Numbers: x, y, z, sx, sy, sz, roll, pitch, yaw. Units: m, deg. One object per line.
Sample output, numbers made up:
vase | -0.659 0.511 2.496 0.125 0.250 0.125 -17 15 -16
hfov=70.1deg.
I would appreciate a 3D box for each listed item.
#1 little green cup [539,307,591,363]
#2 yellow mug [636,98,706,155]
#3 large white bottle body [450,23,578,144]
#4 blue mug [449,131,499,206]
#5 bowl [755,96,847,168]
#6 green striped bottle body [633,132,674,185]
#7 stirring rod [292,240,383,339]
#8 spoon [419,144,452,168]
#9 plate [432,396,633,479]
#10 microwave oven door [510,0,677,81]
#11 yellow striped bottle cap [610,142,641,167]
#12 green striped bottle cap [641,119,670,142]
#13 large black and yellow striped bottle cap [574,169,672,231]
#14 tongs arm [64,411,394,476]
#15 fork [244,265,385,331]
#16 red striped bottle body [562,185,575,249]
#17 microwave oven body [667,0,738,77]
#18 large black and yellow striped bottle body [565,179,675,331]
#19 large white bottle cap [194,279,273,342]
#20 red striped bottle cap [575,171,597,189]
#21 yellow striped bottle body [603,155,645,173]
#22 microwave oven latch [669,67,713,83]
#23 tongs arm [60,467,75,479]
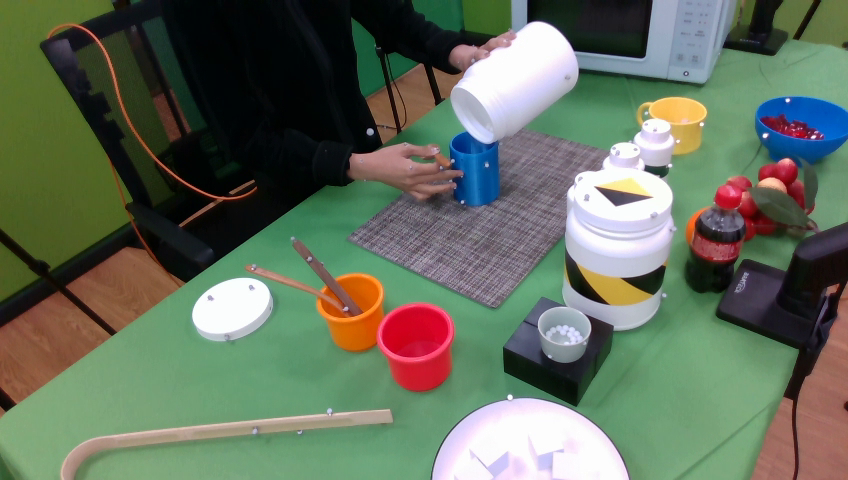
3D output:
little green cup | 0.167 0.114 0.721 0.061 0.039 0.061 -4 43 4
yellow mug | 0.453 -0.217 1.128 0.100 0.064 0.129 -34 46 -27
large white bottle body | 0.145 -0.253 0.995 0.185 0.131 0.129 -39 48 -14
blue mug | 0.090 -0.134 1.050 0.082 0.106 0.116 1 41 10
bowl | 0.645 -0.178 1.041 0.151 0.077 0.150 -5 40 4
green striped bottle body | 0.376 -0.135 1.001 0.063 0.120 0.063 -5 40 5
stirring rod | -0.118 0.068 0.825 0.176 0.006 0.014 48 59 -4
spoon | 0.020 -0.141 1.019 0.041 0.022 0.193 -28 16 -1
plate | 0.112 0.261 0.634 0.209 0.038 0.208 -5 40 4
microwave oven door | 0.354 -0.478 1.290 0.353 0.245 0.039 15 45 25
yellow striped bottle cap | 0.308 -0.130 0.925 0.044 0.019 0.044 -5 43 5
green striped bottle cap | 0.371 -0.175 0.968 0.044 0.020 0.044 -5 42 5
large black and yellow striped bottle cap | 0.242 -0.051 0.738 0.115 0.019 0.114 -4 37 3
tongs arm | -0.228 0.241 0.715 0.385 0.026 0.050 -5 44 5
fork | -0.142 0.078 0.806 0.209 0.018 0.028 30 33 -24
red striped bottle body | 0.246 -0.041 0.910 0.063 0.120 0.062 0 38 1
microwave oven body | 0.462 -0.552 1.369 0.439 0.261 0.326 15 45 26
large black and yellow striped bottle body | 0.254 0.014 0.793 0.131 0.185 0.130 -5 40 4
large white bottle cap | -0.284 0.103 0.902 0.115 0.018 0.114 -4 40 4
red striped bottle cap | 0.242 -0.081 0.876 0.044 0.018 0.044 -5 44 5
yellow striped bottle body | 0.314 -0.091 0.957 0.063 0.121 0.062 -4 40 4
microwave oven latch | 0.556 -0.349 1.261 0.078 0.029 0.030 16 46 27
tongs arm | -0.239 0.301 0.649 0.386 0.028 0.028 6 49 16
